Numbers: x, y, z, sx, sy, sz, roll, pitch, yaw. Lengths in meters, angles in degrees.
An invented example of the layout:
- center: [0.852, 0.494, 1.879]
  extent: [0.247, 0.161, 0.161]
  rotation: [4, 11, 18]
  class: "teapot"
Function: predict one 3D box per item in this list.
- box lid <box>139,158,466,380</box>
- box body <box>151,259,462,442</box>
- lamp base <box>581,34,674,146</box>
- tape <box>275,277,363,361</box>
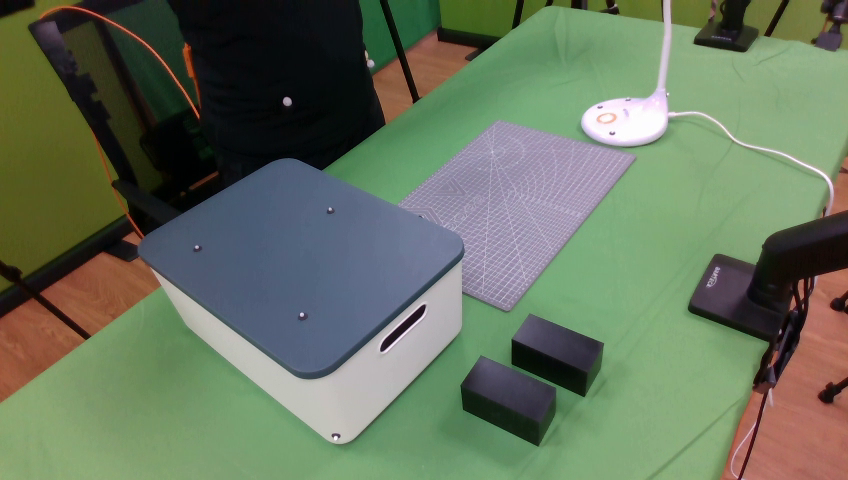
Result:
- center: [-0.158, 0.010, 0.757]
  extent: [0.368, 0.015, 0.264]
  rotation: [26, 50, 33]
  class: "box lid"
- center: [-0.152, 0.064, 0.807]
  extent: [0.361, 0.161, 0.255]
  rotation: [26, 51, 33]
  class: "box body"
- center: [0.392, -0.291, 1.129]
  extent: [0.180, 0.181, 0.159]
  rotation: [-11, 41, -8]
  class: "lamp base"
- center: [-0.143, 0.107, 0.831]
  extent: [0.117, 0.053, 0.116]
  rotation: [-4, 41, 4]
  class: "tape"
